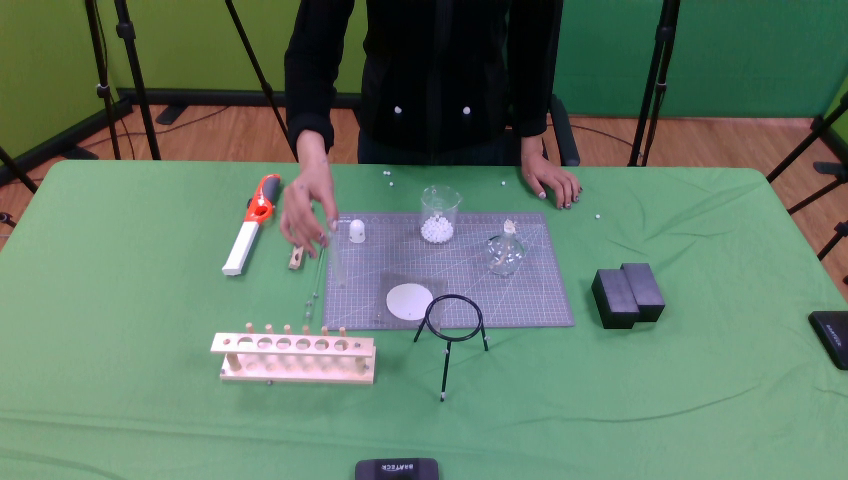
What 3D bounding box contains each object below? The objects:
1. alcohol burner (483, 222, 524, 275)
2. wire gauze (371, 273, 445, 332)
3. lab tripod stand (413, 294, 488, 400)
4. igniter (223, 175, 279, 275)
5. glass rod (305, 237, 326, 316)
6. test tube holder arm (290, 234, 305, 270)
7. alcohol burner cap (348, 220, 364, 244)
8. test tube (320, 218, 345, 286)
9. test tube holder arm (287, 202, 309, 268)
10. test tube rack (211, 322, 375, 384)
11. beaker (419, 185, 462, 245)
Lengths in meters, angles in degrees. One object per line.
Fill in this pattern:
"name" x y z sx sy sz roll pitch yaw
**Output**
"alcohol burner" 0.152 0.010 1.136 0.078 0.119 0.077 4 46 -4
"wire gauze" -0.028 0.109 1.099 0.125 0.011 0.121 8 45 4
"lab tripod stand" 0.044 0.159 0.972 0.148 0.132 0.147 3 44 -2
"igniter" -0.341 -0.039 1.207 0.057 0.025 0.275 -1 45 9
"glass rod" -0.202 0.064 1.131 0.008 0.008 0.198 4 43 0
"test tube holder arm" -0.242 0.021 1.164 0.010 0.015 0.087 29 39 -25
"alcohol burner cap" -0.134 -0.019 1.190 0.034 0.048 0.033 2 46 -2
"test tube" -0.137 0.022 0.912 0.017 0.151 0.017 -1 50 2
"test tube holder arm" -0.246 -0.013 1.193 0.013 0.015 0.177 28 39 -25
"test tube rack" -0.203 0.176 0.969 0.242 0.085 0.066 3 46 -2
"beaker" 0.029 -0.047 1.191 0.084 0.101 0.073 -5 47 -10
